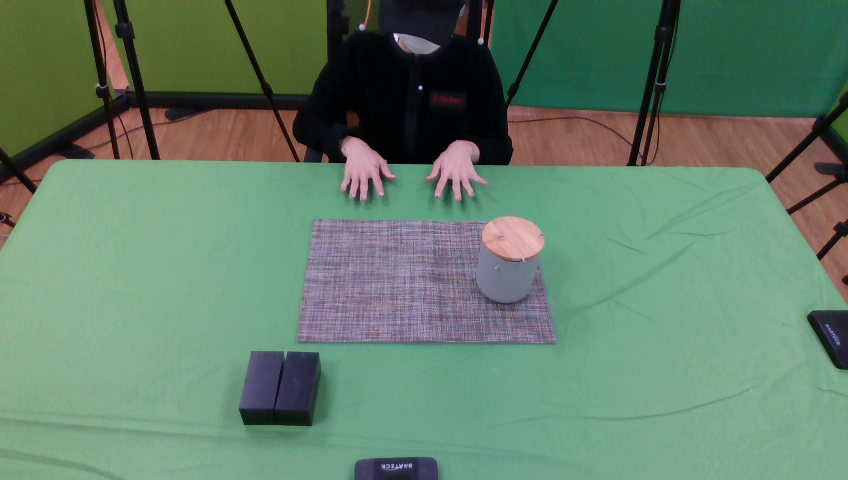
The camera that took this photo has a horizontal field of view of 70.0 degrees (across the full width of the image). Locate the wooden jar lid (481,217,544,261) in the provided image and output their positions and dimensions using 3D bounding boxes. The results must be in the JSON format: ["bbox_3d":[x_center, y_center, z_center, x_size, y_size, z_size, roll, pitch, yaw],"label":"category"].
[{"bbox_3d":[0.152,0.001,1.044,0.108,0.021,0.107,2,43,-2],"label":"wooden jar lid"}]

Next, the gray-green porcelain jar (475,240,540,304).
[{"bbox_3d":[0.148,0.044,1.090,0.106,0.127,0.105,2,46,-2],"label":"gray-green porcelain jar"}]
